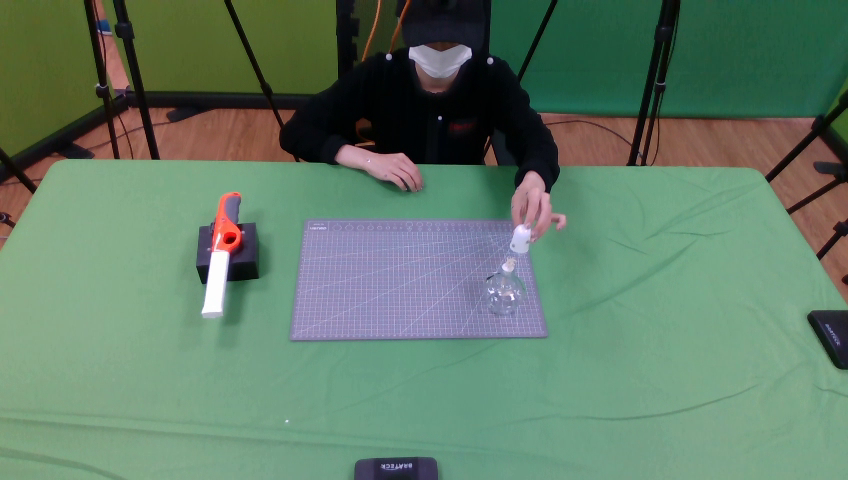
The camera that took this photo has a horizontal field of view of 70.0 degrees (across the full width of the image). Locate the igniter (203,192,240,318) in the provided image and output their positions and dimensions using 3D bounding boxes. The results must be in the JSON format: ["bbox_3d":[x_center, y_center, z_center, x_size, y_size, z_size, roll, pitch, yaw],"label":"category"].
[{"bbox_3d":[-0.361,0.017,1.084,0.057,0.025,0.274,-3,51,-6],"label":"igniter"}]

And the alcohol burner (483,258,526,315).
[{"bbox_3d":[0.143,0.076,1.067,0.078,0.120,0.077,1,45,-1],"label":"alcohol burner"}]

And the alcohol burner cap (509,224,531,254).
[{"bbox_3d":[0.159,-0.004,0.993,0.034,0.048,0.033,4,39,-3],"label":"alcohol burner cap"}]
